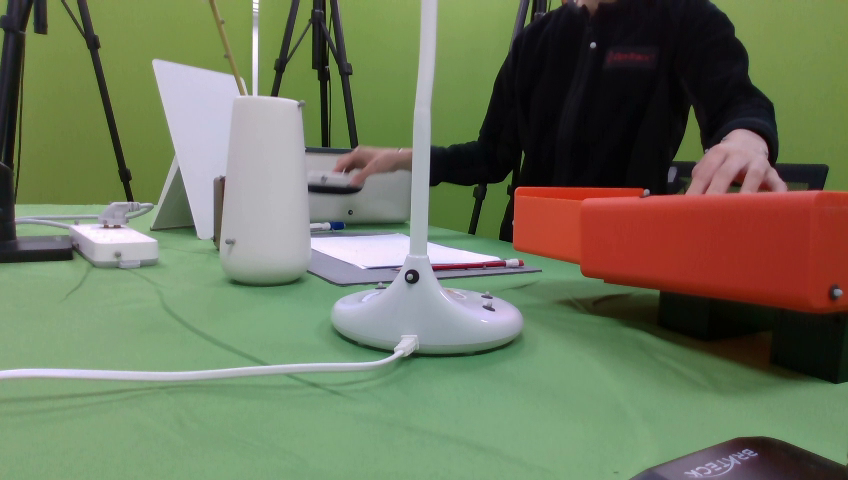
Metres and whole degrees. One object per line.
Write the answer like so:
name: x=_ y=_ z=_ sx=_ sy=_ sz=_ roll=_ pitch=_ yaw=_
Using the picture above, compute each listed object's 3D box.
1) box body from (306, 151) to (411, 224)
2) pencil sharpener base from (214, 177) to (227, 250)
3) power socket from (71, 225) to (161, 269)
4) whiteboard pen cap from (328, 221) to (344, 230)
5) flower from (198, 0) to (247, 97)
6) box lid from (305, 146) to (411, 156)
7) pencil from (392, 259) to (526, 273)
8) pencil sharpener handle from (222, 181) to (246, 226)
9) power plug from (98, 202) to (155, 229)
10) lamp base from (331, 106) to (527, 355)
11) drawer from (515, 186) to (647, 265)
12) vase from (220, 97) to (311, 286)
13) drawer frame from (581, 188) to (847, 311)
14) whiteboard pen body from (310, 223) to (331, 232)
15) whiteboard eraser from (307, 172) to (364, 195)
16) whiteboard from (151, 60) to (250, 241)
box body: x=-0.230 y=-0.126 z=1.371 sx=0.366 sy=0.160 sz=0.253 roll=-2 pitch=8 yaw=-33
pencil sharpener base: x=-0.265 y=-0.036 z=0.870 sx=0.061 sy=0.107 sz=0.076 roll=-2 pitch=8 yaw=-29
power socket: x=-0.408 y=0.004 z=0.793 sx=0.072 sy=0.032 sz=0.225 roll=-2 pitch=8 yaw=-38
whiteboard pen cap: x=-0.166 y=-0.027 z=1.124 sx=0.018 sy=0.018 sz=0.033 roll=9 pitch=11 yaw=42
flower: x=-0.187 y=-0.133 z=0.648 sx=0.038 sy=0.362 sz=0.044 roll=-1 pitch=22 yaw=43
box lid: x=-0.229 y=-0.200 z=1.360 sx=0.373 sy=0.015 sz=0.262 roll=-3 pitch=9 yaw=-33
pencil: x=0.049 y=0.035 z=0.782 sx=0.195 sy=0.012 sz=0.012 roll=-3 pitch=9 yaw=-25
pencil sharpener handle: x=-0.289 y=-0.055 z=0.912 sx=0.036 sy=0.067 sz=0.030 roll=-3 pitch=9 yaw=-29
power plug: x=-0.416 y=-0.027 z=0.848 sx=0.073 sy=0.052 sz=0.035 roll=0 pitch=8 yaw=-28
lamp base: x=0.006 y=-0.012 z=0.478 sx=0.161 sy=0.180 sz=0.179 roll=2 pitch=10 yaw=2
drawer: x=0.229 y=-0.011 z=0.603 sx=0.195 sy=0.073 sz=0.210 roll=-1 pitch=8 yaw=-28
vase: x=-0.172 y=-0.052 z=0.662 sx=0.098 sy=0.200 sz=0.098 roll=3 pitch=8 yaw=0
drawer frame: x=0.280 y=0.000 z=0.511 sx=0.203 sy=0.082 sz=0.212 roll=-1 pitch=3 yaw=-28
whiteboard pen body: x=-0.207 y=-0.021 z=1.081 sx=0.017 sy=0.017 sz=0.141 roll=9 pitch=11 yaw=41
whiteboard eraser: x=-0.172 y=-0.105 z=1.125 sx=0.113 sy=0.042 sz=0.055 roll=-3 pitch=1 yaw=-33
whiteboard: x=-0.408 y=-0.139 z=1.093 sx=0.143 sy=0.305 sz=0.218 roll=-15 pitch=0 yaw=25
